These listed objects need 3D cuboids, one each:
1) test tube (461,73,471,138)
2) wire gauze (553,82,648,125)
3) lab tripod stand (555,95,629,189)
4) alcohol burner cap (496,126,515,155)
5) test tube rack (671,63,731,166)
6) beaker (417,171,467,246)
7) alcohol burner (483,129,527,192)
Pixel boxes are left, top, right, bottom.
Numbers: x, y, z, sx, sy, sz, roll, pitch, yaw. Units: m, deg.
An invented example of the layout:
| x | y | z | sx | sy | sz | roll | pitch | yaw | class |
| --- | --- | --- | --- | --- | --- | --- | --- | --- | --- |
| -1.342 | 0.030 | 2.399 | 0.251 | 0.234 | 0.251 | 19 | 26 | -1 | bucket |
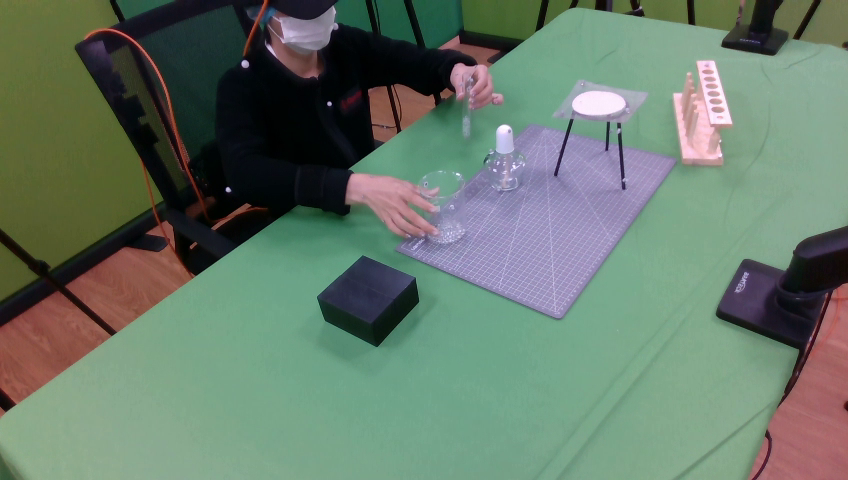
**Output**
| x | y | z | sx | sy | sz | roll | pitch | yaw | class |
| --- | --- | --- | --- | --- | --- | --- | --- | --- | --- |
| 0.076 | -0.239 | 1.091 | 0.017 | 0.151 | 0.017 | -1 | 56 | 2 | test tube |
| 0.293 | -0.226 | 1.002 | 0.120 | 0.011 | 0.125 | 17 | 45 | 27 | wire gauze |
| 0.300 | -0.174 | 1.045 | 0.148 | 0.132 | 0.147 | -5 | 38 | 5 | lab tripod stand |
| 0.138 | -0.172 | 1.028 | 0.034 | 0.048 | 0.033 | -5 | 38 | 4 | alcohol burner cap |
| 0.513 | -0.241 | 1.132 | 0.066 | 0.085 | 0.242 | 4 | 41 | 14 | test tube rack |
| 0.034 | -0.049 | 0.965 | 0.084 | 0.101 | 0.073 | -32 | 45 | -27 | beaker |
| 0.141 | -0.144 | 1.050 | 0.078 | 0.119 | 0.077 | -4 | 42 | 4 | alcohol burner |
